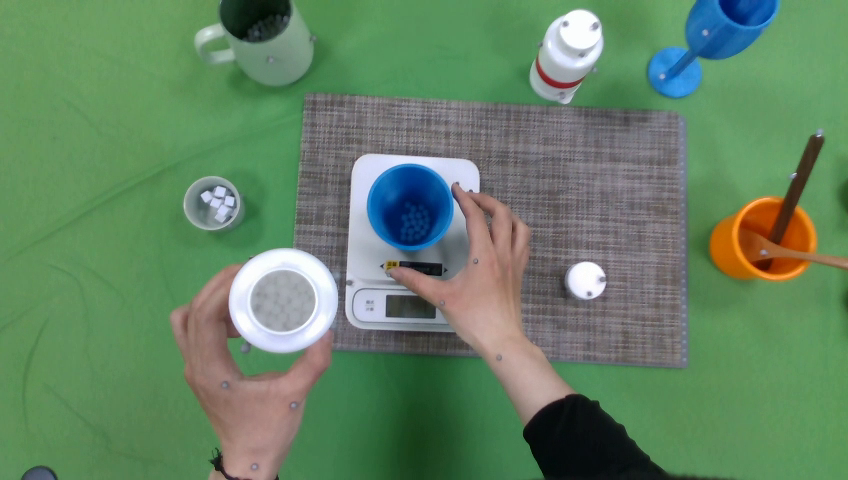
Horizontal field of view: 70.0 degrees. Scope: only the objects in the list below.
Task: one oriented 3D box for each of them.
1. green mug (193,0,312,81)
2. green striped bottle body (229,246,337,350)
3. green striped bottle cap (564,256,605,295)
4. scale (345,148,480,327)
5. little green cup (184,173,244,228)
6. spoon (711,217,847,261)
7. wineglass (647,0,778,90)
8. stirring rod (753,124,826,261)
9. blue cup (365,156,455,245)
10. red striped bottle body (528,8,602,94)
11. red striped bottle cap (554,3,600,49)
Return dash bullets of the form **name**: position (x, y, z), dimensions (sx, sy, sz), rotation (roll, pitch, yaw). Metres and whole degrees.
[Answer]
- **green mug**: position (-0.193, -0.231, 0.677), dimensions (0.125, 0.105, 0.092), rotation (-19, 84, -3)
- **green striped bottle body**: position (-0.090, 0.037, 0.392), dimensions (0.063, 0.119, 0.063), rotation (1, 86, -11)
- **green striped bottle cap**: position (0.184, 0.040, 0.694), dimensions (0.044, 0.020, 0.044), rotation (0, 80, 0)
- **scale**: position (-0.012, -0.004, 0.687), dimensions (0.149, 0.031, 0.200), rotation (2, 84, -1)
- **little green cup**: position (-0.235, -0.042, 0.687), dimensions (0.061, 0.039, 0.061), rotation (0, 83, -2)
- **spoon**: position (0.403, 0.009, 0.639), dimensions (0.022, 0.192, 0.041), rotation (16, 90, -42)
- **wineglass**: position (0.303, -0.225, 0.651), dimensions (0.074, 0.172, 0.073), rotation (0, 83, 0)
- **stirring rod**: position (0.386, -0.044, 0.644), dimensions (0.014, 0.178, 0.006), rotation (11, 42, 14)
- **blue cup**: position (-0.015, -0.033, 0.624), dimensions (0.093, 0.100, 0.092), rotation (0, 86, -2)
- **red striped bottle body**: position (0.157, -0.213, 0.674), dimensions (0.063, 0.120, 0.063), rotation (0, 83, -1)
- **red striped bottle cap**: position (0.157, -0.220, 0.621), dimensions (0.044, 0.018, 0.044), rotation (0, 80, -1)
